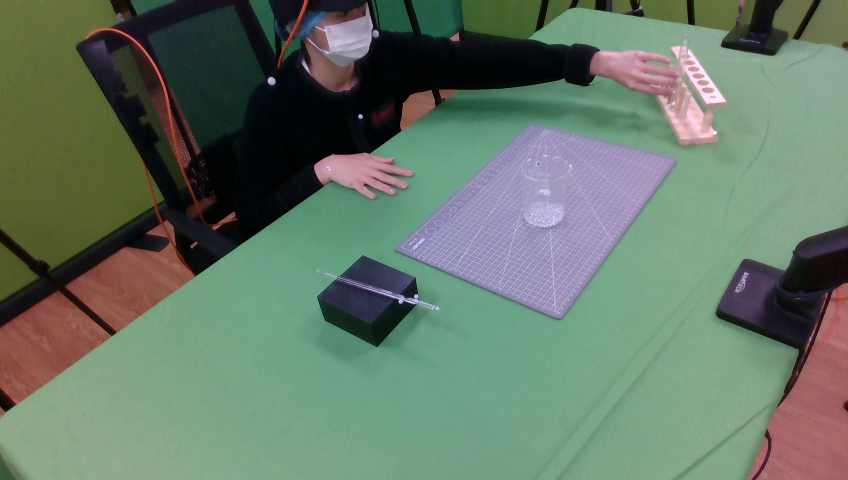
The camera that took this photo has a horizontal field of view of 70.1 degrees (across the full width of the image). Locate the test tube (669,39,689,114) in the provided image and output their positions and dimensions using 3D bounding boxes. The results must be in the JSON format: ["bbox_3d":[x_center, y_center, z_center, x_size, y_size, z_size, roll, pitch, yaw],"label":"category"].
[{"bbox_3d":[0.482,-0.308,1.146,0.017,0.151,0.017,-5,42,5],"label":"test tube"}]

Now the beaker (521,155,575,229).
[{"bbox_3d":[0.197,-0.075,0.969,0.084,0.101,0.073,-6,40,2],"label":"beaker"}]

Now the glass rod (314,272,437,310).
[{"bbox_3d":[-0.072,0.069,0.837,0.198,0.008,0.008,14,44,24],"label":"glass rod"}]

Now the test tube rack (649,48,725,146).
[{"bbox_3d":[0.508,-0.285,1.186,0.067,0.085,0.241,-4,40,6],"label":"test tube rack"}]
